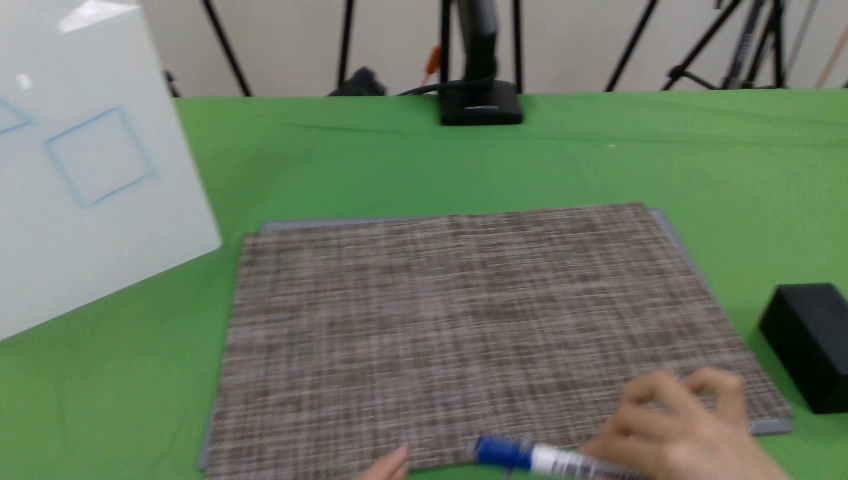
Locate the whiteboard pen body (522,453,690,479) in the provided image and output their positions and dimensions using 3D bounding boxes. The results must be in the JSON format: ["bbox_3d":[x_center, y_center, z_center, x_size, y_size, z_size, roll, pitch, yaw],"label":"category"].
[{"bbox_3d":[0.104,0.139,0.353,0.141,0.017,0.017,11,38,-3],"label":"whiteboard pen body"}]

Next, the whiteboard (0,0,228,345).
[{"bbox_3d":[-0.358,-0.101,0.572,0.217,0.307,0.142,-27,27,-29],"label":"whiteboard"}]

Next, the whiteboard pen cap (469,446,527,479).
[{"bbox_3d":[0.044,0.130,0.349,0.033,0.018,0.018,10,39,-1],"label":"whiteboard pen cap"}]
